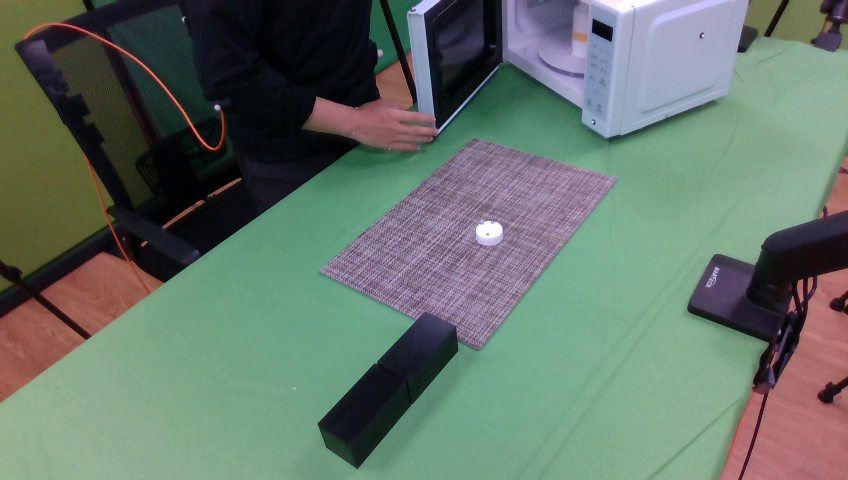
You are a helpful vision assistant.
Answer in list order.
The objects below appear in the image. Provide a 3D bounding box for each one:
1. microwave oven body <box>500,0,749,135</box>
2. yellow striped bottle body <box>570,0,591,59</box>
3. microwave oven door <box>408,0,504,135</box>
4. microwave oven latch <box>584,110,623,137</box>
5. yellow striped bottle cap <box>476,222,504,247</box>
[{"bbox_3d":[0.382,-0.444,1.246,0.327,0.261,0.437,-22,42,-16],"label":"microwave oven body"},{"bbox_3d":[0.339,-0.449,1.269,0.063,0.121,0.062,-6,44,6],"label":"yellow striped bottle body"},{"bbox_3d":[0.078,-0.411,1.242,0.039,0.245,0.356,15,46,24],"label":"microwave oven door"},{"bbox_3d":[0.337,-0.222,1.142,0.030,0.029,0.078,-21,42,-14],"label":"microwave oven latch"},{"bbox_3d":[0.105,-0.010,0.966,0.044,0.019,0.044,-4,39,3],"label":"yellow striped bottle cap"}]
